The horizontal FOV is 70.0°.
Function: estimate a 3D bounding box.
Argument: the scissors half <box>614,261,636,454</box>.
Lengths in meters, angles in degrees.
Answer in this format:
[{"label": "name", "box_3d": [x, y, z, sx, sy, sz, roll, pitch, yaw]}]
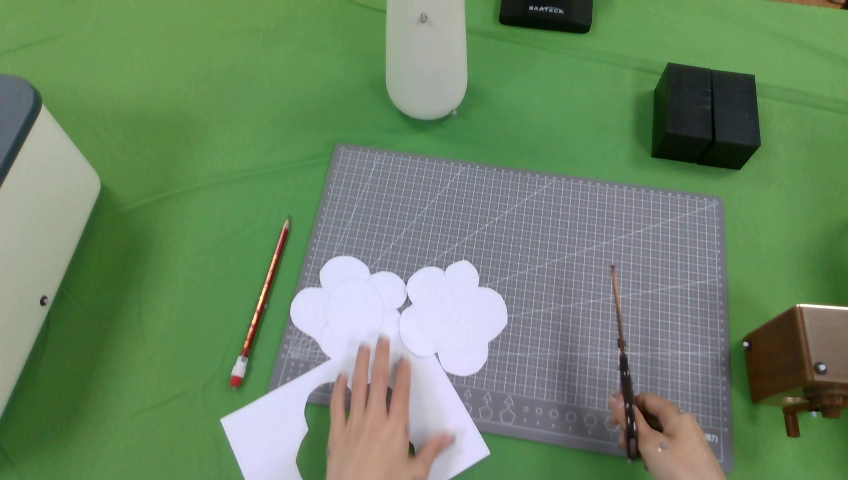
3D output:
[{"label": "scissors half", "box_3d": [0.177, 0.099, 0.540, 0.013, 0.040, 0.174, -3, 63, 15]}]

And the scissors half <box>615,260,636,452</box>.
[{"label": "scissors half", "box_3d": [0.183, 0.105, 0.558, 0.012, 0.040, 0.174, -5, 80, 20]}]

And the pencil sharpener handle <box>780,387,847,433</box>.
[{"label": "pencil sharpener handle", "box_3d": [0.341, 0.150, 0.529, 0.036, 0.068, 0.030, 10, 65, -11]}]

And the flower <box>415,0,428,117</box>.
[{"label": "flower", "box_3d": [-0.006, -0.272, 0.592, 0.044, 0.365, 0.038, 2, 47, 5]}]

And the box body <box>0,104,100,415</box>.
[{"label": "box body", "box_3d": [-0.505, 0.030, 0.564, 0.254, 0.161, 0.361, 8, 66, 4]}]

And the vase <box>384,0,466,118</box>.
[{"label": "vase", "box_3d": [-0.001, -0.224, 0.662, 0.098, 0.201, 0.097, 0, 64, 1]}]

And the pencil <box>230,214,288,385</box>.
[{"label": "pencil", "box_3d": [-0.170, 0.056, 0.638, 0.012, 0.012, 0.192, 9, 64, 5]}]

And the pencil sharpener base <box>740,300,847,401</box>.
[{"label": "pencil sharpener base", "box_3d": [0.350, 0.109, 0.561, 0.061, 0.108, 0.076, 4, 66, 2]}]

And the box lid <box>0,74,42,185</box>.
[{"label": "box lid", "box_3d": [-0.505, -0.004, 0.496, 0.263, 0.015, 0.369, 9, 65, 3]}]
